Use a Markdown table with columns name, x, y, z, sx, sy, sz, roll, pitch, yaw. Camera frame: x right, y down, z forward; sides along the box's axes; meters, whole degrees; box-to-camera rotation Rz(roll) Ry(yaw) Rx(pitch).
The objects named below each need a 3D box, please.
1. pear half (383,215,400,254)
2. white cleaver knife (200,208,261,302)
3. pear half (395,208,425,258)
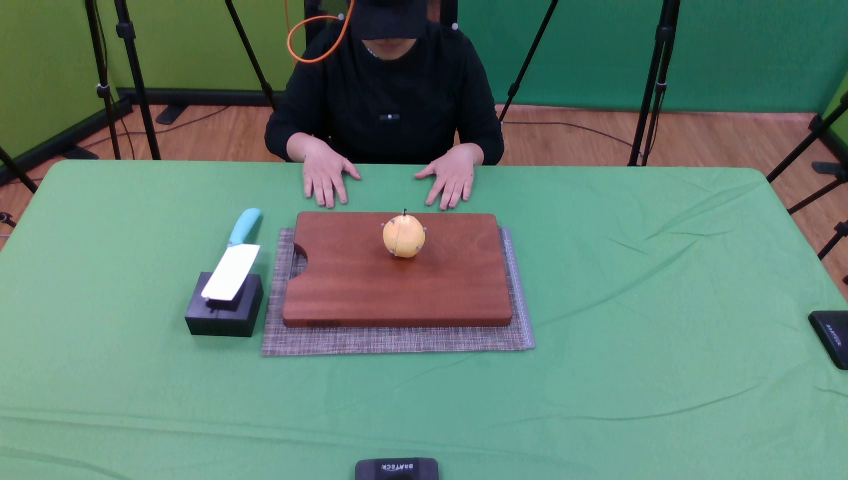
| name | x | y | z | sx | sy | sz | roll | pitch | yaw |
| --- | --- | --- | --- | --- | --- | --- | --- | --- | --- |
| pear half | -0.061 | -0.013 | 1.119 | 0.031 | 0.088 | 0.070 | 0 | 54 | -4 |
| white cleaver knife | -0.338 | 0.024 | 1.116 | 0.066 | 0.021 | 0.285 | 7 | 35 | -3 |
| pear half | -0.025 | -0.018 | 1.113 | 0.056 | 0.110 | 0.076 | 0 | 50 | -4 |
